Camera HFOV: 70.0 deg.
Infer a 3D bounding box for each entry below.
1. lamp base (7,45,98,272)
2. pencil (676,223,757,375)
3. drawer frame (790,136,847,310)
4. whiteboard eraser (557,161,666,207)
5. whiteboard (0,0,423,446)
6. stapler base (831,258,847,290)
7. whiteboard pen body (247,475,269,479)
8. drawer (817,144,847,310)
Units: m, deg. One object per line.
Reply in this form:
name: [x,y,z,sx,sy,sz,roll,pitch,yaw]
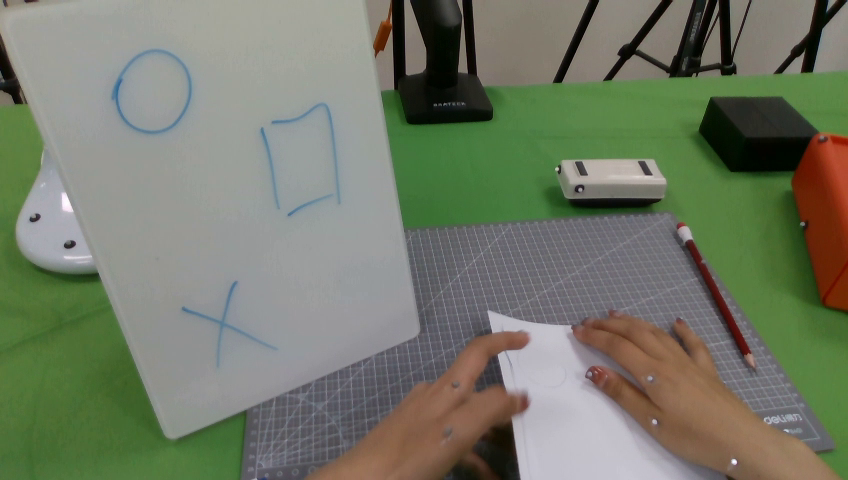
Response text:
lamp base: [-0.337,-0.087,0.580,0.178,0.182,0.160,23,45,25]
pencil: [0.280,0.049,0.586,0.012,0.012,0.192,0,43,-3]
drawer frame: [0.503,-0.007,0.612,0.201,0.083,0.212,11,41,11]
whiteboard eraser: [0.213,-0.064,0.694,0.113,0.042,0.055,0,42,-3]
whiteboard: [-0.147,-0.038,0.485,0.218,0.307,0.142,-19,26,-22]
stapler base: [0.464,0.042,0.582,0.130,0.024,0.041,16,50,3]
whiteboard pen body: [-0.168,0.187,0.393,0.141,0.017,0.017,-17,44,-23]
drawer: [0.504,-0.004,0.611,0.194,0.074,0.210,12,41,12]
